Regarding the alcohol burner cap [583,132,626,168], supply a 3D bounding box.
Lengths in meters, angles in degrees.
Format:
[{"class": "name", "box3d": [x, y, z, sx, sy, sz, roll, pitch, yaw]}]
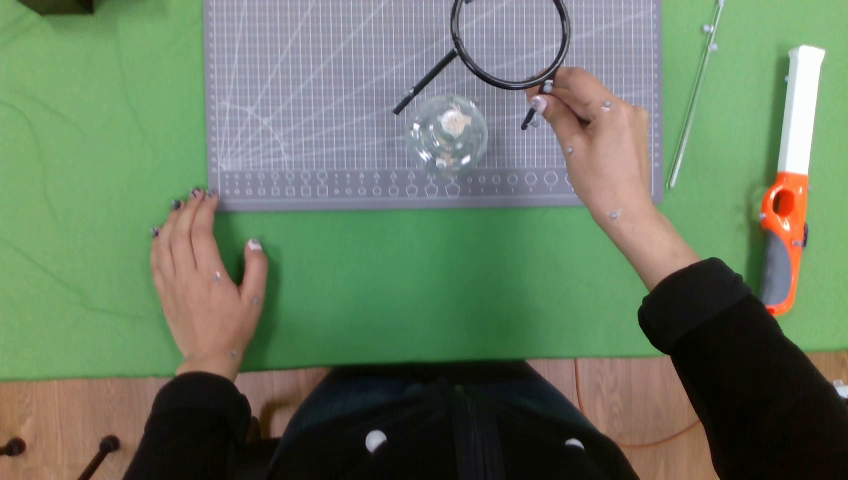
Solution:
[{"class": "alcohol burner cap", "box3d": [0.178, -0.089, 0.591, 0.034, 0.048, 0.034, 0, 91, -3]}]

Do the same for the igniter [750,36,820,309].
[{"class": "igniter", "box3d": [0.368, -0.066, 0.617, 0.057, 0.025, 0.276, 6, 92, -15]}]

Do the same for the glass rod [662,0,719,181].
[{"class": "glass rod", "box3d": [0.271, -0.157, 0.615, 0.008, 0.008, 0.199, 15, 91, -5]}]

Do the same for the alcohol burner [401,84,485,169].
[{"class": "alcohol burner", "box3d": [0.019, -0.104, 0.543, 0.078, 0.119, 0.078, 0, 90, -4]}]

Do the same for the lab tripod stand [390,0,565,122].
[{"class": "lab tripod stand", "box3d": [0.044, -0.156, 0.489, 0.149, 0.131, 0.148, 0, 88, -11]}]
